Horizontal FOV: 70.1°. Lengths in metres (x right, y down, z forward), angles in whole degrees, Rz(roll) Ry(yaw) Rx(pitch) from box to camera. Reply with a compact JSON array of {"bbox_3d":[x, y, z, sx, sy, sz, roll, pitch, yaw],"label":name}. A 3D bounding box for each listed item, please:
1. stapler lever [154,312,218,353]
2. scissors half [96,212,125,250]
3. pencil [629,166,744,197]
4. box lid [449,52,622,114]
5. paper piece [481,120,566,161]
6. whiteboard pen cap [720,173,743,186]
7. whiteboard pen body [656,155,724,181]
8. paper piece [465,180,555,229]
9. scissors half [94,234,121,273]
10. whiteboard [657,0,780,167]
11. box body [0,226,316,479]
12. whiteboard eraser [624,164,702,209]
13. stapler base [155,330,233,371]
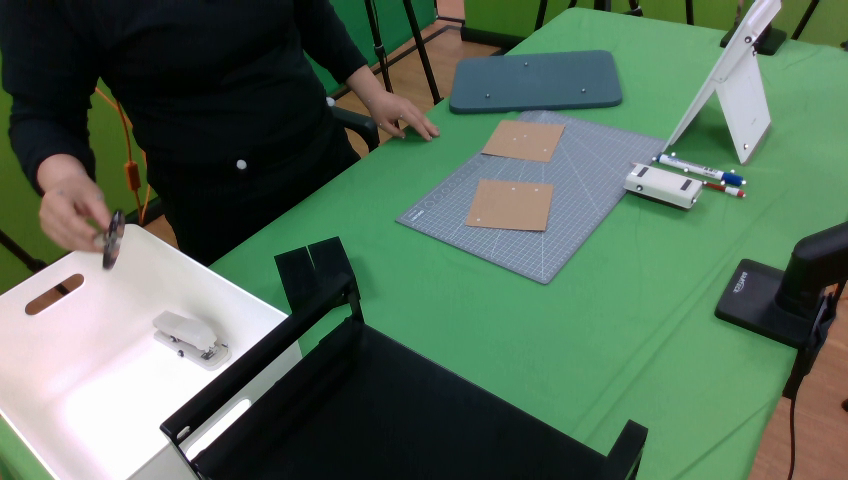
[{"bbox_3d":[-0.331,0.122,0.835,0.117,0.040,0.027,17,42,30],"label":"stapler lever"},{"bbox_3d":[-0.350,-0.007,0.674,0.013,0.040,0.174,12,4,-21],"label":"scissors half"},{"bbox_3d":[0.447,-0.103,1.038,0.192,0.012,0.012,21,48,29],"label":"pencil"},{"bbox_3d":[0.249,-0.358,1.370,0.371,0.015,0.262,-1,40,9],"label":"box lid"},{"bbox_3d":[0.197,-0.199,1.188,0.135,0.004,0.135,10,44,22],"label":"paper piece"},{"bbox_3d":[0.519,-0.103,1.020,0.033,0.018,0.018,23,49,30],"label":"whiteboard pen cap"},{"bbox_3d":[0.475,-0.123,1.052,0.139,0.017,0.017,24,50,32],"label":"whiteboard pen body"},{"bbox_3d":[0.149,-0.062,1.035,0.137,0.009,0.136,4,37,16],"label":"paper piece"},{"bbox_3d":[-0.353,0.013,0.673,0.013,0.174,0.040,6,80,-21],"label":"scissors half"},{"bbox_3d":[0.571,-0.272,1.038,0.143,0.306,0.218,37,54,17],"label":"whiteboard"},{"bbox_3d":[-0.339,0.162,0.728,0.361,0.161,0.255,23,48,31],"label":"box body"},{"bbox_3d":[0.396,-0.087,1.003,0.112,0.042,0.056,22,48,31],"label":"whiteboard eraser"},{"bbox_3d":[-0.326,0.142,0.850,0.129,0.024,0.041,18,42,29],"label":"stapler base"}]
